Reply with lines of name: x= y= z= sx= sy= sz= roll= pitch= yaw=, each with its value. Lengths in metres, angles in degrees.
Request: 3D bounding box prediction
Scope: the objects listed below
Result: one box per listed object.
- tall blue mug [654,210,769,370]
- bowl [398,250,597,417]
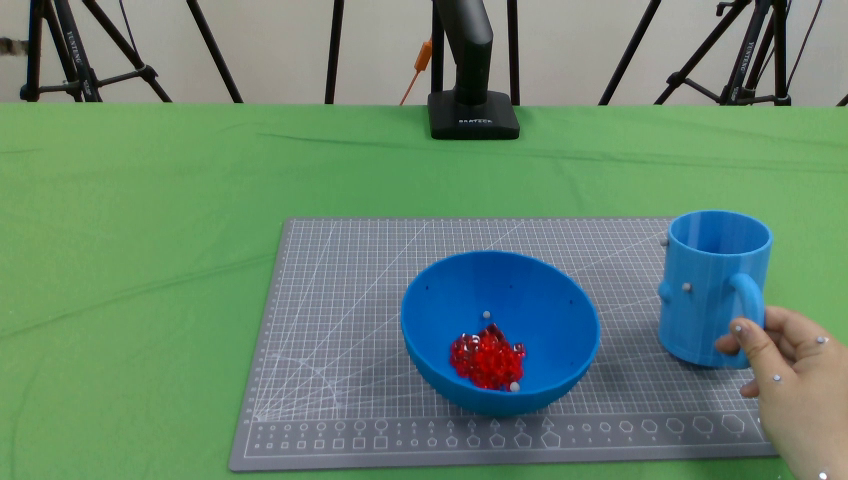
tall blue mug: x=0.244 y=0.046 z=0.495 sx=0.078 sy=0.109 sz=0.106 roll=-20 pitch=31 yaw=-22
bowl: x=0.053 y=0.085 z=0.477 sx=0.151 sy=0.077 sz=0.150 roll=2 pitch=39 yaw=-1
